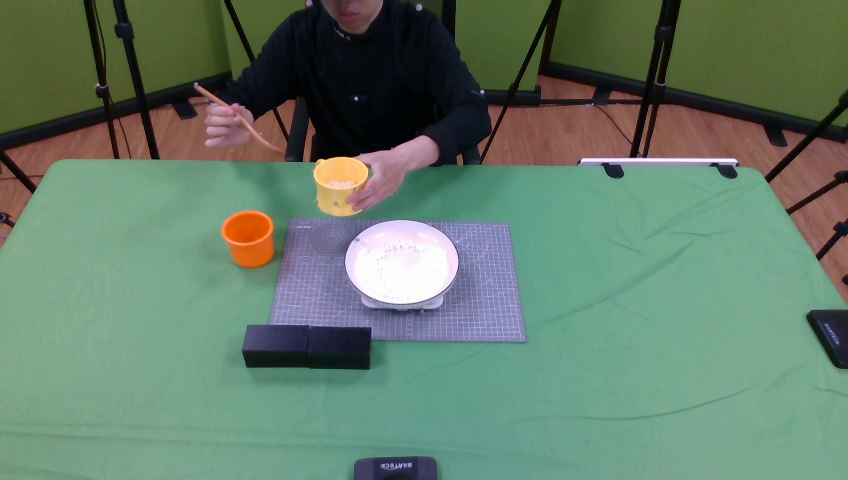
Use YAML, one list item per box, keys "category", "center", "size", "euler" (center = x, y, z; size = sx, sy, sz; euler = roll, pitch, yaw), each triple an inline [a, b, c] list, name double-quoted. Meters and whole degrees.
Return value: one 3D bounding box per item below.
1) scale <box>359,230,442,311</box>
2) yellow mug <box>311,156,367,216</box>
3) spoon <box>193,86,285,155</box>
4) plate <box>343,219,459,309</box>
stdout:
- category: "scale"
  center: [-0.043, 0.047, 1.138]
  size: [0.149, 0.032, 0.199]
  euler: [2, 46, -3]
- category: "yellow mug"
  center: [-0.167, -0.109, 1.132]
  size: [0.130, 0.064, 0.100]
  euler: [35, 51, 29]
- category: "spoon"
  center: [-0.333, -0.214, 1.091]
  size: [0.194, 0.041, 0.021]
  euler: [42, 85, -7]
- category: "plate"
  center: [-0.041, 0.046, 1.094]
  size: [0.209, 0.038, 0.208]
  euler: [2, 46, -2]
